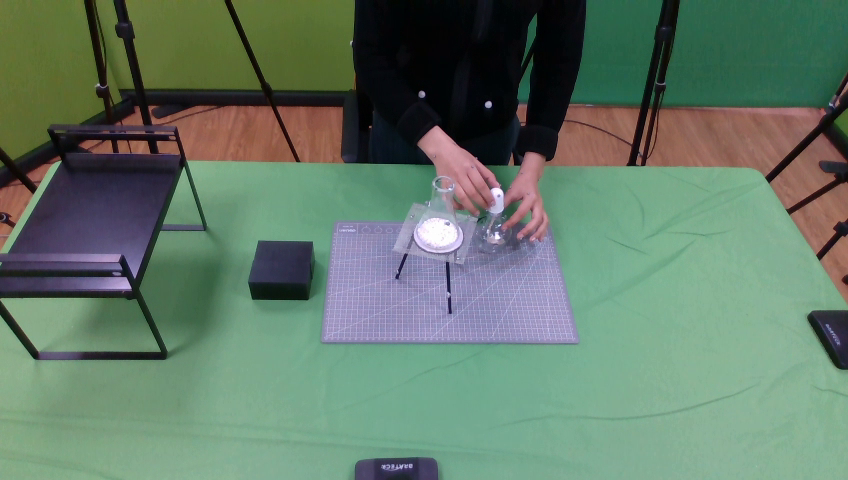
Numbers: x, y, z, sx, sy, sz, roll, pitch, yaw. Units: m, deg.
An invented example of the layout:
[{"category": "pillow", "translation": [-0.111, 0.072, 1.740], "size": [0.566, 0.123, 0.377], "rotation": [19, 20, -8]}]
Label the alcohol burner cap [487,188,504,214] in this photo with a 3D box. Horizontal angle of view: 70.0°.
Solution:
[{"category": "alcohol burner cap", "translation": [0.133, -0.075, 1.122], "size": [0.034, 0.048, 0.033], "rotation": [-1, 43, 1]}]

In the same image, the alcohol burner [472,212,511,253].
[{"category": "alcohol burner", "translation": [0.133, -0.032, 1.173], "size": [0.078, 0.119, 0.077], "rotation": [2, 43, -2]}]

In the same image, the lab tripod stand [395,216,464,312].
[{"category": "lab tripod stand", "translation": [0.023, 0.037, 1.084], "size": [0.148, 0.132, 0.147], "rotation": [4, 47, -4]}]

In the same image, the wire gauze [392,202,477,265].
[{"category": "wire gauze", "translation": [0.021, -0.011, 1.037], "size": [0.121, 0.011, 0.124], "rotation": [13, 49, 8]}]

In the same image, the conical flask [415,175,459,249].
[{"category": "conical flask", "translation": [0.026, -0.049, 0.993], "size": [0.075, 0.122, 0.075], "rotation": [3, 47, -3]}]
